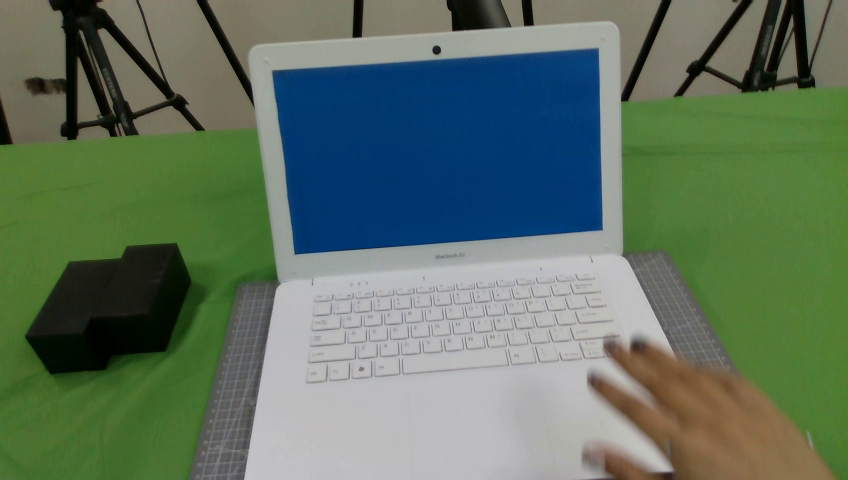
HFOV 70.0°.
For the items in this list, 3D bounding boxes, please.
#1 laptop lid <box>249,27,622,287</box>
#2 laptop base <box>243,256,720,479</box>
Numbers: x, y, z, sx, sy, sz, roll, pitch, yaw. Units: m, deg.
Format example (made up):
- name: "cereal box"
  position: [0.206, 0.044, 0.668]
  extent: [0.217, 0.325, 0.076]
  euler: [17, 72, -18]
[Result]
- name: "laptop lid"
  position: [0.018, -0.077, 0.594]
  extent: [0.357, 0.242, 0.013]
  euler: [-6, 11, -2]
- name: "laptop base"
  position: [0.036, 0.109, 0.525]
  extent: [0.354, 0.023, 0.233]
  euler: [-5, 42, -2]
